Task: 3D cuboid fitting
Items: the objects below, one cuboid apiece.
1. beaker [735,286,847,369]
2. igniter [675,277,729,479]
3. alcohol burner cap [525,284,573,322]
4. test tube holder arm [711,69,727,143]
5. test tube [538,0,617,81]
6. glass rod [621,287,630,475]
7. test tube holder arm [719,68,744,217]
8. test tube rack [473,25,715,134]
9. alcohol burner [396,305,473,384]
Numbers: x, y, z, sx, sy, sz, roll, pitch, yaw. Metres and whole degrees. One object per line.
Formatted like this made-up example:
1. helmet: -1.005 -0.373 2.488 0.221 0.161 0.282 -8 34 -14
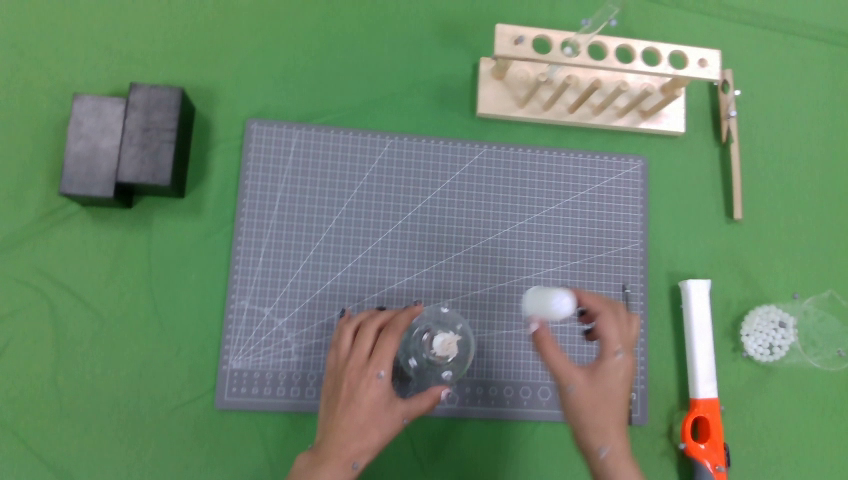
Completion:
1. beaker: 0.389 0.093 0.642 0.074 0.100 0.083 17 79 -4
2. igniter: 0.298 0.177 0.653 0.057 0.025 0.275 2 81 -17
3. alcohol burner cap: 0.109 0.053 0.514 0.034 0.048 0.034 1 84 -12
4. test tube holder arm: 0.350 -0.159 0.718 0.010 0.015 0.087 -8 81 28
5. test tube: 0.150 -0.200 0.613 0.017 0.150 0.017 3 78 -13
6. glass rod: 0.218 0.150 0.654 0.008 0.008 0.199 3 81 -7
7. test tube holder arm: 0.358 -0.115 0.709 0.013 0.015 0.178 -9 81 28
8. test tube rack: 0.181 -0.172 0.663 0.243 0.085 0.066 4 80 -7
9. alcohol burner: 0.012 0.099 0.582 0.078 0.119 0.077 1 78 -6
